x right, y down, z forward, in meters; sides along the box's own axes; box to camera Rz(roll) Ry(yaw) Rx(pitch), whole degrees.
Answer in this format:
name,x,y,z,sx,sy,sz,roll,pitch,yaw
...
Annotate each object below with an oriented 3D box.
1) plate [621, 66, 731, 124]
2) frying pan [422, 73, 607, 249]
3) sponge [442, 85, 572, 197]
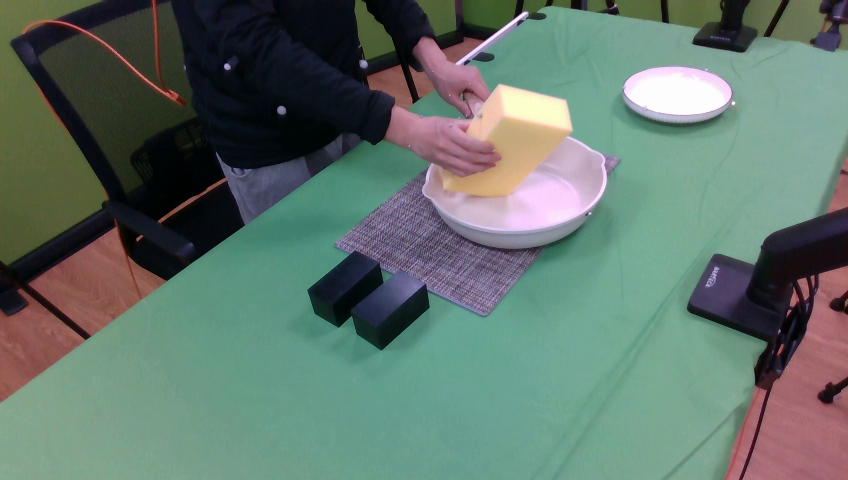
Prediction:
name,x,y,z,sx,sy,sz,roll,pitch,yaw
plate,0.503,-0.288,1.221,0.207,0.039,0.206,-4,41,4
frying pan,0.130,-0.161,1.069,0.307,0.103,0.484,-10,49,-5
sponge,0.124,-0.148,0.962,0.119,0.206,0.060,7,61,-23
